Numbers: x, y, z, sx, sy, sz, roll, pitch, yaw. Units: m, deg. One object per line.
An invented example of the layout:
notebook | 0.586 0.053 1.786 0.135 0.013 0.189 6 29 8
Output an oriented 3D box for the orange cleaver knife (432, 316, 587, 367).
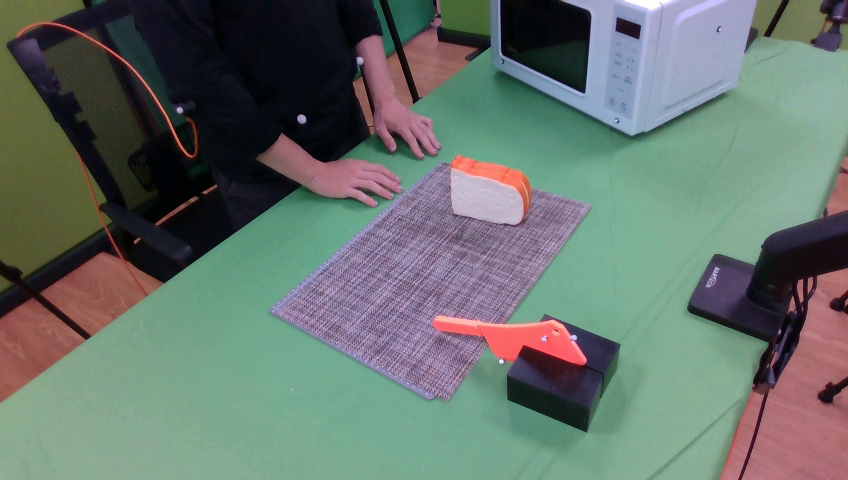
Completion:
orange cleaver knife | 0.101 0.127 0.761 0.210 0.077 0.012 -1 34 40

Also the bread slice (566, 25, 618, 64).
bread slice | 0.362 -0.428 1.324 0.107 0.018 0.133 0 51 7

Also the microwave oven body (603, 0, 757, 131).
microwave oven body | 0.396 -0.448 1.248 0.327 0.261 0.437 -27 44 -21

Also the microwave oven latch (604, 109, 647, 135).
microwave oven latch | 0.378 -0.225 1.139 0.030 0.029 0.078 -26 43 -20

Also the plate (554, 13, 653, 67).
plate | 0.385 -0.428 1.311 0.207 0.039 0.206 -3 45 4

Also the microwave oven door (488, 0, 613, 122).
microwave oven door | 0.250 -0.412 1.219 0.039 0.245 0.352 -27 44 -21
